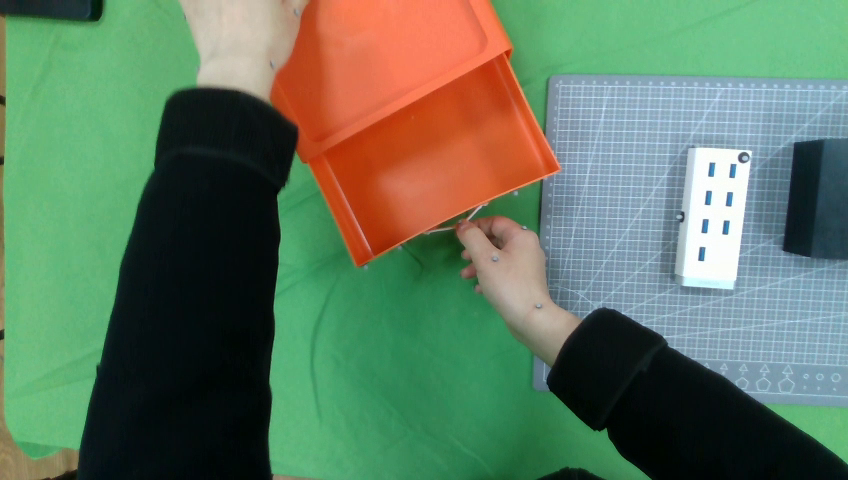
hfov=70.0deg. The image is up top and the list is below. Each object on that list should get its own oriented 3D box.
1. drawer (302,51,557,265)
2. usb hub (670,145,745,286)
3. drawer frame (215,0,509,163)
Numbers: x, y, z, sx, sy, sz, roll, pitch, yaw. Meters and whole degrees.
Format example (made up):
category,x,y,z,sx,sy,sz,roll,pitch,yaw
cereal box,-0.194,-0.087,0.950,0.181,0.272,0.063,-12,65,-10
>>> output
category,x,y,z,sx,sy,sz,roll,pitch,yaw
drawer,-0.017,-0.113,0.536,0.194,0.073,0.212,-25,94,7
usb hub,0.257,-0.023,0.549,0.049,0.025,0.125,4,97,4
drawer frame,-0.064,-0.205,0.525,0.201,0.082,0.213,-28,93,7
